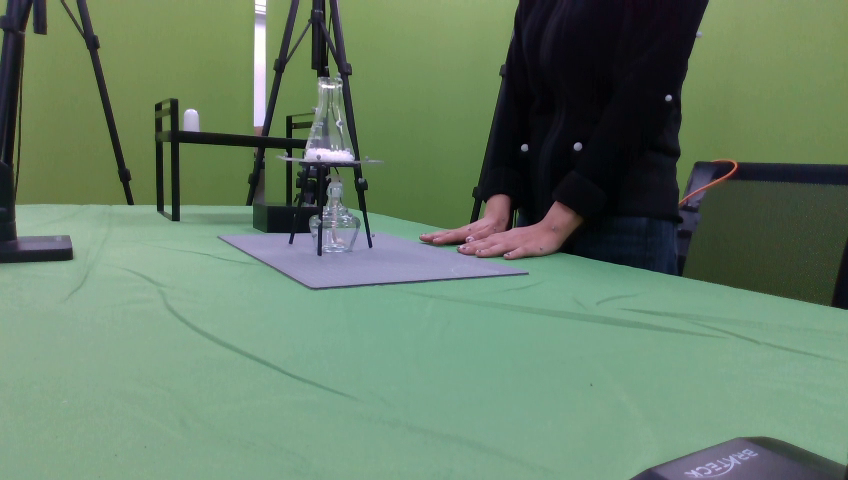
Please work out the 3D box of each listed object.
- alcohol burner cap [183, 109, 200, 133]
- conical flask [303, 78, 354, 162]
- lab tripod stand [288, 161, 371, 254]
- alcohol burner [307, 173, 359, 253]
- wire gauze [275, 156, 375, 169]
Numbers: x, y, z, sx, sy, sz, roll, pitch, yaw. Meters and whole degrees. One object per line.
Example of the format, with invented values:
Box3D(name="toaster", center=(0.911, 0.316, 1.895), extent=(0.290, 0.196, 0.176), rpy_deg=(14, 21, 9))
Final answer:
Box3D(name="alcohol burner cap", center=(-0.472, -0.241, 1.229), extent=(0.034, 0.048, 0.034), rpy_deg=(3, 8, 0))
Box3D(name="conical flask", center=(-0.140, -0.175, 0.892), extent=(0.075, 0.122, 0.075), rpy_deg=(2, 7, 0))
Box3D(name="lab tripod stand", center=(-0.148, -0.052, 0.908), extent=(0.148, 0.131, 0.148), rpy_deg=(1, 8, 0))
Box3D(name="alcohol burner", center=(-0.135, -0.041, 0.901), extent=(0.078, 0.119, 0.078), rpy_deg=(2, 6, 0))
Box3D(name="wire gauze", center=(-0.142, -0.116, 0.899), extent=(0.122, 0.011, 0.124), rpy_deg=(-1, 5, -36))
